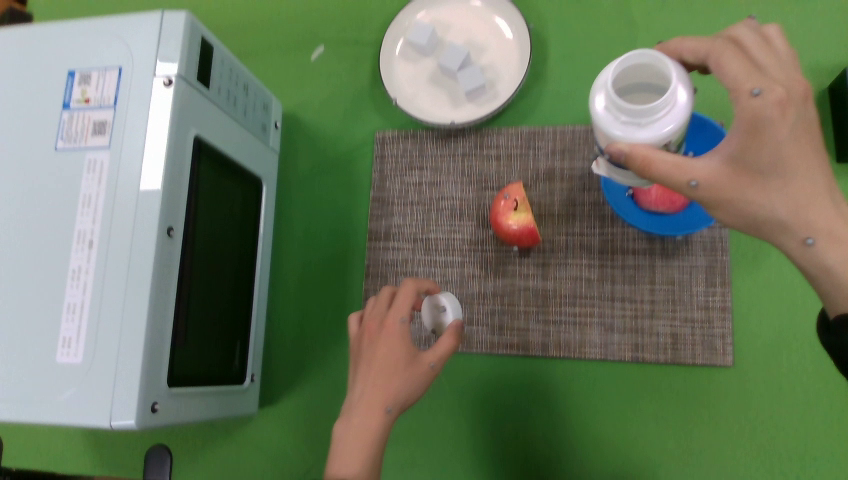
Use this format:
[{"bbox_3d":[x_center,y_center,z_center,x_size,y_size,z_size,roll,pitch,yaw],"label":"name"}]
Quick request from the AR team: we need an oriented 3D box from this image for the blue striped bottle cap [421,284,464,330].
[{"bbox_3d":[0.018,0.069,0.622,0.020,0.045,0.044,-31,69,-38],"label":"blue striped bottle cap"}]

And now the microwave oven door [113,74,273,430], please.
[{"bbox_3d":[-0.251,0.026,0.699,0.039,0.245,0.354,-1,79,12],"label":"microwave oven door"}]

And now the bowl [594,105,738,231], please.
[{"bbox_3d":[0.276,-0.077,0.712,0.151,0.077,0.150,-2,78,12],"label":"bowl"}]

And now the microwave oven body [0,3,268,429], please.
[{"bbox_3d":[-0.392,-0.012,0.740,0.325,0.261,0.440,-1,79,11],"label":"microwave oven body"}]

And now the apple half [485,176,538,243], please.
[{"bbox_3d":[0.103,-0.032,0.741,0.053,0.075,0.080,-20,79,12],"label":"apple half"}]

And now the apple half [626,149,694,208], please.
[{"bbox_3d":[0.276,-0.077,0.707,0.081,0.033,0.081,-3,77,12],"label":"apple half"}]

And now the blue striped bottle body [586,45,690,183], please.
[{"bbox_3d":[0.143,-0.085,0.411,0.063,0.121,0.063,-4,78,17],"label":"blue striped bottle body"}]

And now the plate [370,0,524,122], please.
[{"bbox_3d":[0.032,-0.254,0.822,0.207,0.039,0.206,-2,79,11],"label":"plate"}]

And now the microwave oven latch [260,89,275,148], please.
[{"bbox_3d":[-0.222,-0.168,0.837,0.030,0.029,0.079,-3,79,11],"label":"microwave oven latch"}]
